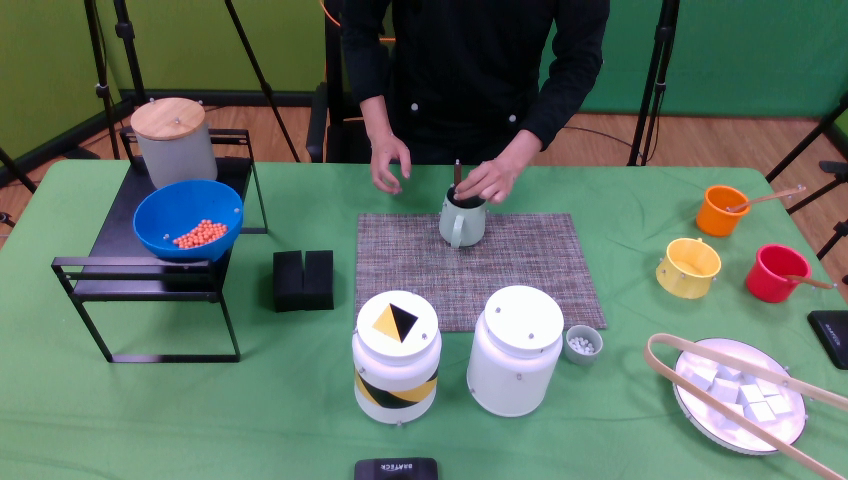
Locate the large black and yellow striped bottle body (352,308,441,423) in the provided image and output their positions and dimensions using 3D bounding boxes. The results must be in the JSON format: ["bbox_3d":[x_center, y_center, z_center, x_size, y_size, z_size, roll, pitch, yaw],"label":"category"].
[{"bbox_3d":[-0.042,0.177,0.913,0.131,0.185,0.130,2,46,-2],"label":"large black and yellow striped bottle body"}]

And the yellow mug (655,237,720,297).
[{"bbox_3d":[0.509,0.041,1.167,0.099,0.064,0.130,24,48,18],"label":"yellow mug"}]

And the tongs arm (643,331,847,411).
[{"bbox_3d":[0.546,0.227,0.968,0.384,0.026,0.050,22,51,13],"label":"tongs arm"}]

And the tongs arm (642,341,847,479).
[{"bbox_3d":[0.504,0.277,0.917,0.386,0.028,0.028,34,58,22],"label":"tongs arm"}]

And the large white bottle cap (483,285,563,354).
[{"bbox_3d":[0.142,0.112,0.871,0.115,0.018,0.114,3,46,-2],"label":"large white bottle cap"}]

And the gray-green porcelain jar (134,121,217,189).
[{"bbox_3d":[-0.397,-0.141,0.980,0.106,0.127,0.105,2,47,-2],"label":"gray-green porcelain jar"}]

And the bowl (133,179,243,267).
[{"bbox_3d":[-0.339,-0.013,0.895,0.151,0.077,0.150,2,46,-2],"label":"bowl"}]

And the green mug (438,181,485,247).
[{"bbox_3d":[0.071,-0.039,1.177,0.092,0.105,0.124,12,47,7],"label":"green mug"}]

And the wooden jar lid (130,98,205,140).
[{"bbox_3d":[-0.393,-0.183,0.934,0.108,0.021,0.107,2,44,-2],"label":"wooden jar lid"}]

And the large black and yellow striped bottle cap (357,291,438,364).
[{"bbox_3d":[-0.037,0.121,0.851,0.115,0.019,0.114,1,46,-1],"label":"large black and yellow striped bottle cap"}]

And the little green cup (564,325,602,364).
[{"bbox_3d":[0.269,0.180,1.036,0.061,0.039,0.061,2,45,-2],"label":"little green cup"}]

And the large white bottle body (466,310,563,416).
[{"bbox_3d":[0.138,0.171,0.932,0.131,0.185,0.130,2,46,-2],"label":"large white bottle body"}]

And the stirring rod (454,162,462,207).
[{"bbox_3d":[0.063,-0.073,1.138,0.014,0.177,0.006,-4,44,-1],"label":"stirring rod"}]

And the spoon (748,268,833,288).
[{"bbox_3d":[0.660,0.068,1.097,0.041,0.193,0.021,-4,91,-6],"label":"spoon"}]

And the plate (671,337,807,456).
[{"bbox_3d":[0.503,0.254,0.984,0.208,0.039,0.206,2,46,-2],"label":"plate"}]

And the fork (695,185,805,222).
[{"bbox_3d":[0.657,-0.074,1.230,0.207,0.019,0.028,-23,34,37],"label":"fork"}]
